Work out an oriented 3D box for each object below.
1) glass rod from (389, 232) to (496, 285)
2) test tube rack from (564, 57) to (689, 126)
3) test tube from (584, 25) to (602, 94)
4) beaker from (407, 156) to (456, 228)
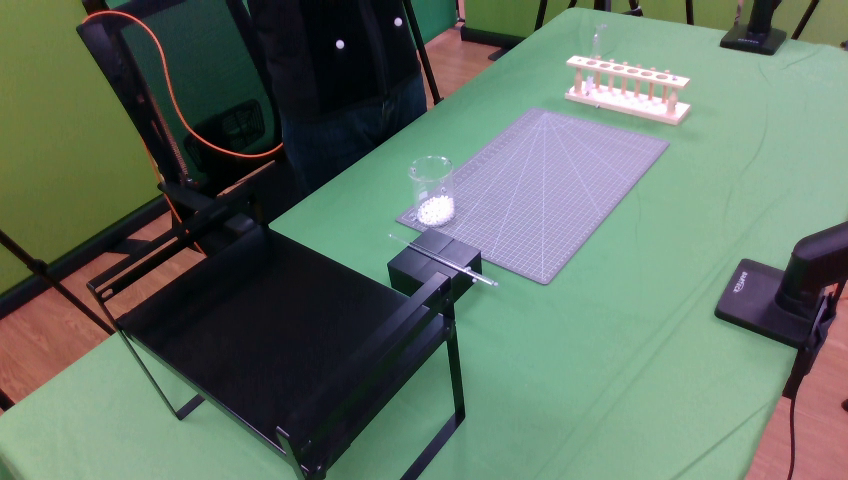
[{"bbox_3d":[0.022,0.026,0.878,0.198,0.008,0.008,25,50,33],"label":"glass rod"},{"bbox_3d":[0.411,-0.311,1.230,0.240,0.085,0.067,23,49,32],"label":"test tube rack"},{"bbox_3d":[0.341,-0.362,1.224,0.017,0.151,0.017,-2,47,2],"label":"test tube"},{"bbox_3d":[0.016,-0.079,1.002,0.073,0.101,0.084,26,49,33],"label":"beaker"}]
